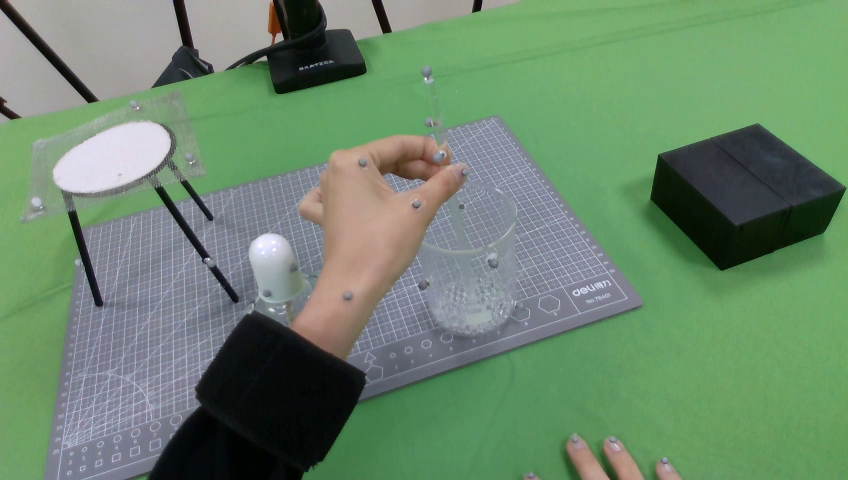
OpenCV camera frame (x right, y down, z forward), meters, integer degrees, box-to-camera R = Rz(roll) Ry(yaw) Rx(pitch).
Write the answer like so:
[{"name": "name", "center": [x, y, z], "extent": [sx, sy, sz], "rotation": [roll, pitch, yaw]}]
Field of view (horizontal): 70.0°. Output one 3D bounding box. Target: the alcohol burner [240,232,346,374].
[{"name": "alcohol burner", "center": [-0.098, 0.042, 0.434], "extent": [0.078, 0.120, 0.077], "rotation": [-5, 42, 5]}]

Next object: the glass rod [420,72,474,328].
[{"name": "glass rod", "center": [0.018, -0.015, 0.410], "extent": [0.008, 0.201, 0.008], "rotation": [-8, 33, 6]}]

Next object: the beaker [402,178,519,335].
[{"name": "beaker", "center": [0.029, 0.017, 0.450], "extent": [0.084, 0.101, 0.073], "rotation": [-20, 45, -10]}]

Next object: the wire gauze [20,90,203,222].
[{"name": "wire gauze", "center": [-0.236, -0.065, 0.454], "extent": [0.125, 0.011, 0.120], "rotation": [-21, 45, -11]}]

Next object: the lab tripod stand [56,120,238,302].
[{"name": "lab tripod stand", "center": [-0.228, -0.018, 0.501], "extent": [0.148, 0.133, 0.147], "rotation": [-4, 46, 5]}]

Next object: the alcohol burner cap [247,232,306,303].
[{"name": "alcohol burner cap", "center": [-0.101, 0.017, 0.407], "extent": [0.034, 0.048, 0.033], "rotation": [-6, 43, 6]}]
